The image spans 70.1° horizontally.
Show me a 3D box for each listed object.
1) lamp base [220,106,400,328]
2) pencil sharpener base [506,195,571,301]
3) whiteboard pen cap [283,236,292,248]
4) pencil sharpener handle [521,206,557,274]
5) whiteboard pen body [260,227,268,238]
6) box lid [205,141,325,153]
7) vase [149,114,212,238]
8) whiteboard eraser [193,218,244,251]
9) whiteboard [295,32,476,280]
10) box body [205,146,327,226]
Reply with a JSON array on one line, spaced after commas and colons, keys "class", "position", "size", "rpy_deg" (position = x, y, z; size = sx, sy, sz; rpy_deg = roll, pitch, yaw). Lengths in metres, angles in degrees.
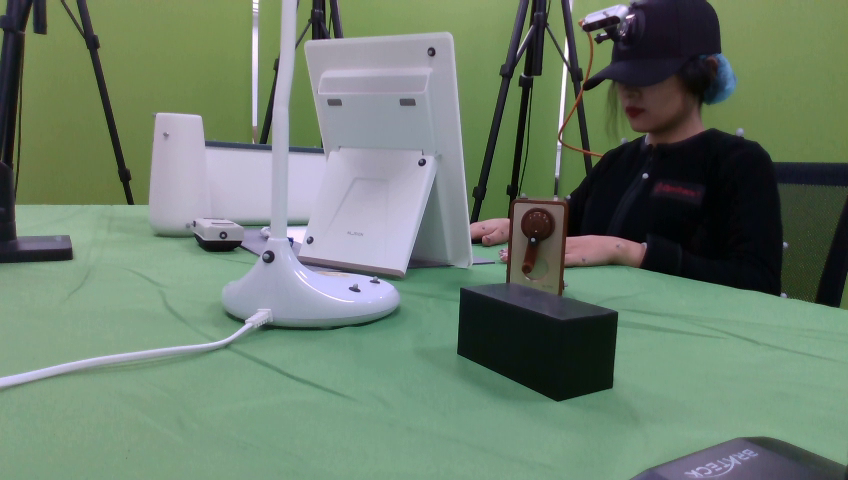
[{"class": "lamp base", "position": [-0.102, -0.023, 0.531], "size": [0.160, 0.180, 0.179], "rpy_deg": [4, 10, 10]}, {"class": "pencil sharpener base", "position": [0.126, 0.007, 0.662], "size": [0.061, 0.107, 0.077], "rpy_deg": [4, 8, 13]}, {"class": "whiteboard pen cap", "position": [-0.211, 0.003, 0.913], "size": [0.018, 0.018, 0.033], "rpy_deg": [-2, 6, -28]}, {"class": "pencil sharpener handle", "position": [0.112, 0.000, 0.611], "size": [0.036, 0.067, 0.031], "rpy_deg": [13, 10, 11]}, {"class": "whiteboard pen body", "position": [-0.239, -0.005, 0.964], "size": [0.017, 0.017, 0.140], "rpy_deg": [-2, 9, -28]}, {"class": "box lid", "position": [-0.357, -0.196, 1.284], "size": [0.373, 0.015, 0.262], "rpy_deg": [-2, 9, -32]}, {"class": "vase", "position": [-0.405, -0.106, 1.006], "size": [0.098, 0.200, 0.098], "rpy_deg": [2, 6, 0]}, {"class": "whiteboard eraser", "position": [-0.307, -0.010, 0.900], "size": [0.056, 0.042, 0.112], "rpy_deg": [-4, 10, -28]}, {"class": "whiteboard", "position": [-0.076, -0.084, 0.747], "size": [0.216, 0.305, 0.144], "rpy_deg": [7, 28, 29]}, {"class": "box body", "position": [-0.363, -0.123, 1.293], "size": [0.366, 0.160, 0.253], "rpy_deg": [-2, 9, -32]}]
